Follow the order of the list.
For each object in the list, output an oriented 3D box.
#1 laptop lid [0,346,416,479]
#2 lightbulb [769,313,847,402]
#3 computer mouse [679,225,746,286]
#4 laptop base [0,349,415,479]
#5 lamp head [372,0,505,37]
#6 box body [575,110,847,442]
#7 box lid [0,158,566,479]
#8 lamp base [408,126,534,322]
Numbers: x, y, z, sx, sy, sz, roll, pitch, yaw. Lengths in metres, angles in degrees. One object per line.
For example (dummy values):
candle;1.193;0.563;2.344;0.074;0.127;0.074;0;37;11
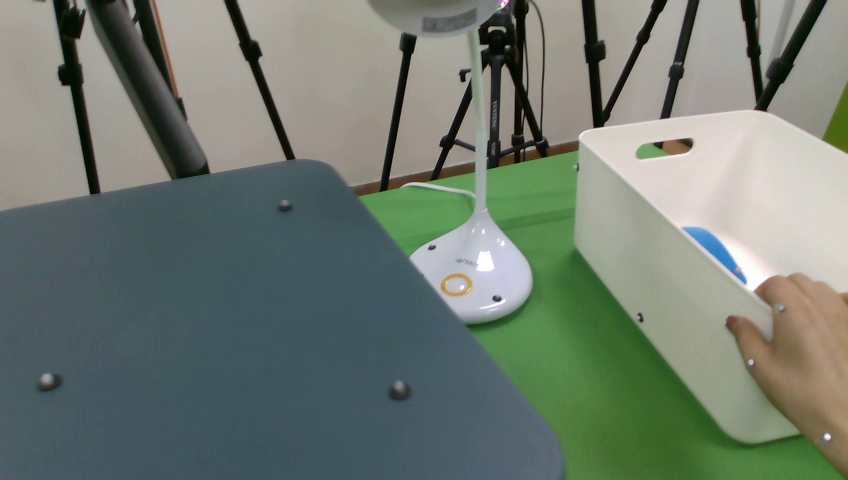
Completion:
laptop lid;-0.188;0.204;0.479;0.357;0.013;0.239;-11;37;-14
lightbulb;0.377;0.116;0.568;0.059;0.060;0.106;-24;59;-29
computer mouse;0.327;0.020;0.723;0.063;0.041;0.116;-7;38;-12
laptop base;-0.188;0.213;0.487;0.355;0.023;0.233;-12;38;-15
lamp head;0.015;-0.242;0.483;0.112;0.113;0.122;2;59;7
box body;0.341;0.012;0.634;0.255;0.162;0.360;-9;34;-10
box lid;-0.126;0.047;0.341;0.264;0.015;0.367;-15;36;-22
lamp base;0.050;-0.028;0.693;0.160;0.181;0.178;6;32;13
